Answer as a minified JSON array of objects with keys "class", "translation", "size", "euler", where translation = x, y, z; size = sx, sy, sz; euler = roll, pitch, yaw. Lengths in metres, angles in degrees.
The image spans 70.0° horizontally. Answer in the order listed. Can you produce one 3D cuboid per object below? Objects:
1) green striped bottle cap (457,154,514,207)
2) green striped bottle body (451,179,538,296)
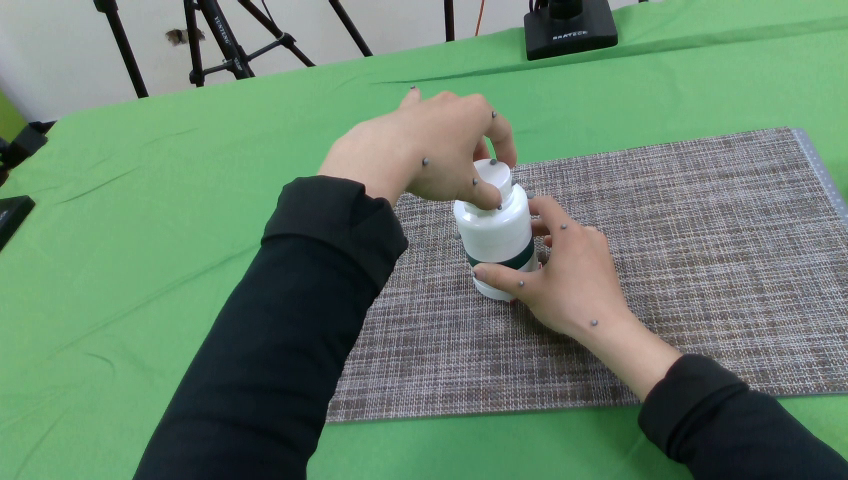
[{"class":"green striped bottle cap","translation":[0.049,-0.048,0.488],"size":[0.044,0.020,0.044],"euler":[-13,50,16]},{"class":"green striped bottle body","translation":[0.061,-0.010,0.527],"size":[0.063,0.120,0.062],"euler":[-10,45,10]}]
